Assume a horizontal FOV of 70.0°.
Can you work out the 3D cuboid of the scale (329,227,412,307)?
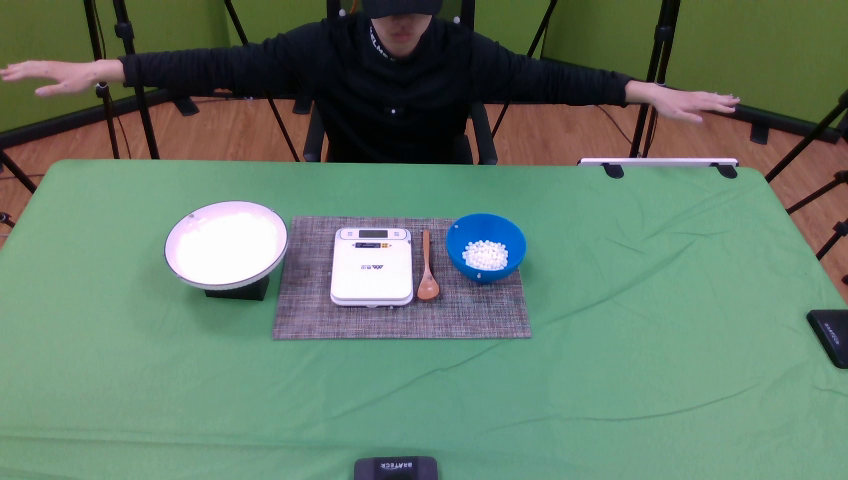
[{"bbox_3d":[-0.099,0.042,1.139,0.149,0.032,0.199,1,46,-4],"label":"scale"}]

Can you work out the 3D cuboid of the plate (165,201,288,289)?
[{"bbox_3d":[-0.347,0.011,1.082,0.209,0.038,0.208,2,46,-2],"label":"plate"}]

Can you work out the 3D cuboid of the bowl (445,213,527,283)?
[{"bbox_3d":[0.112,0.027,1.136,0.151,0.077,0.150,2,46,-2],"label":"bowl"}]

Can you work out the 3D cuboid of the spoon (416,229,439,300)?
[{"bbox_3d":[0.005,0.043,1.152,0.041,0.022,0.192,-9,46,8],"label":"spoon"}]
